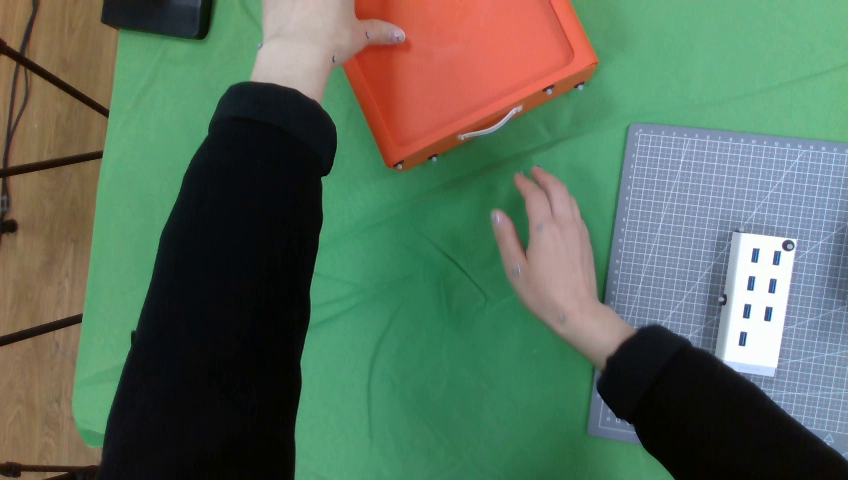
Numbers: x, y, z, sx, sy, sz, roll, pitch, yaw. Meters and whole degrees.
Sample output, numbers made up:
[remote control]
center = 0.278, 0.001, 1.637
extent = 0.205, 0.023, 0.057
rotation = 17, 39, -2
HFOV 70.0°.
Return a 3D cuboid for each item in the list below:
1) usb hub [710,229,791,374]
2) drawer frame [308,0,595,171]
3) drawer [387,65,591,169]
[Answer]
[usb hub]
center = 0.295, 0.055, 0.548
extent = 0.049, 0.025, 0.125
rotation = 7, 94, 7
[drawer frame]
center = 0.014, -0.199, 0.547
extent = 0.201, 0.083, 0.213
rotation = -26, 89, 9
[drawer]
center = 0.016, -0.198, 0.549
extent = 0.194, 0.073, 0.211
rotation = -25, 88, 9
